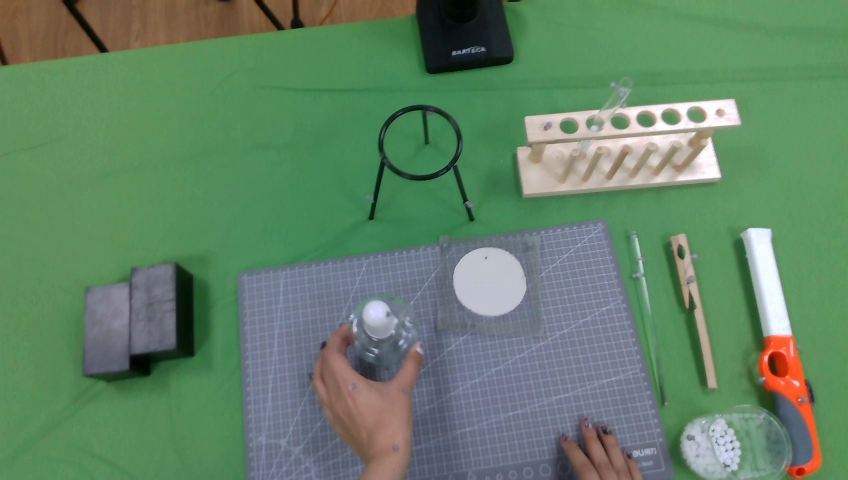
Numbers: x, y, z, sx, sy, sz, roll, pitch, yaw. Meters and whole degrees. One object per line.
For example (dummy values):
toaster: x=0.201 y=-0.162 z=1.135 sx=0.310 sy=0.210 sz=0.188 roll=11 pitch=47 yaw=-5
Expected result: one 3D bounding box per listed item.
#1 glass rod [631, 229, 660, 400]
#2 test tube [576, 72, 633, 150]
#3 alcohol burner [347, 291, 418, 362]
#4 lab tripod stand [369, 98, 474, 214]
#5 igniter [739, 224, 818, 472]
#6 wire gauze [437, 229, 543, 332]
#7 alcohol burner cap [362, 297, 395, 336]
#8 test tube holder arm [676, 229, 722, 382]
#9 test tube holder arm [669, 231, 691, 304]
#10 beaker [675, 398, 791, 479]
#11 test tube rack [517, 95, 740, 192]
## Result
glass rod: x=0.255 y=0.082 z=0.699 sx=0.008 sy=0.008 sz=0.198 roll=-2 pitch=73 yaw=0
test tube: x=0.200 y=-0.141 z=0.683 sx=0.017 sy=0.151 sz=0.017 roll=1 pitch=72 yaw=-4
alcohol burner: x=-0.046 y=0.088 z=0.643 sx=0.078 sy=0.120 sz=0.077 roll=-1 pitch=70 yaw=3
lab tripod stand: x=-0.004 y=-0.087 z=0.695 sx=0.148 sy=0.132 sz=0.147 roll=0 pitch=73 yaw=1
igniter: x=0.394 y=0.113 z=0.677 sx=0.057 sy=0.025 sz=0.274 roll=2 pitch=71 yaw=-9
wire gauze: x=0.077 y=0.045 z=0.712 sx=0.125 sy=0.011 sz=0.120 roll=3 pitch=72 yaw=1
alcohol burner cap: x=-0.047 y=0.074 z=0.610 sx=0.034 sy=0.048 sz=0.033 roll=0 pitch=64 yaw=1
test tube holder arm: x=0.313 y=0.072 z=0.694 sx=0.013 sy=0.015 sz=0.177 roll=-21 pitch=66 yaw=33
test tube holder arm: x=0.304 y=0.032 z=0.712 sx=0.010 sy=0.015 sz=0.087 roll=-20 pitch=67 yaw=34
beaker: x=0.302 y=0.200 z=0.611 sx=0.084 sy=0.101 sz=0.073 roll=22 pitch=72 yaw=10
test tube rack: x=0.240 y=-0.113 z=0.726 sx=0.242 sy=0.086 sz=0.066 roll=-5 pitch=71 yaw=-1
